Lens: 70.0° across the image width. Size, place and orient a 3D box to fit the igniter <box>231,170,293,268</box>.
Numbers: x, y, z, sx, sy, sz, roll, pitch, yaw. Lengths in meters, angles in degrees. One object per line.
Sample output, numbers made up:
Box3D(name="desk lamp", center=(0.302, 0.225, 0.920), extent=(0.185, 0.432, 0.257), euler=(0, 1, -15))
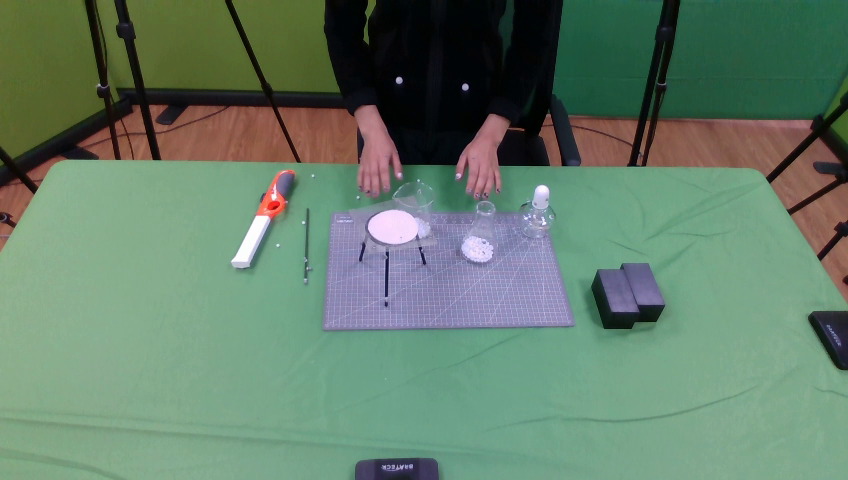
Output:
Box3D(name="igniter", center=(-0.321, -0.051, 1.220), extent=(0.057, 0.025, 0.275), euler=(1, 45, 11))

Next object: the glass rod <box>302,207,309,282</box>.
Box3D(name="glass rod", center=(-0.231, 0.004, 1.187), extent=(0.008, 0.008, 0.198), euler=(-2, 47, -6))

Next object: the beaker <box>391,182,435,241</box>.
Box3D(name="beaker", center=(-0.023, -0.053, 1.192), extent=(0.084, 0.101, 0.073), euler=(-2, 46, -5))

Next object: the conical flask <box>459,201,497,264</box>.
Box3D(name="conical flask", center=(0.109, -0.018, 1.153), extent=(0.075, 0.122, 0.075), euler=(2, 46, -2))

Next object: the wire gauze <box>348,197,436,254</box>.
Box3D(name="wire gauze", center=(-0.056, -0.026, 1.045), extent=(0.125, 0.011, 0.120), euler=(-12, 46, -17))

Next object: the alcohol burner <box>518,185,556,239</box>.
Box3D(name="alcohol burner", center=(0.227, -0.061, 1.209), extent=(0.078, 0.120, 0.077), euler=(1, 44, -1))

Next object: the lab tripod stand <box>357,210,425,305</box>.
Box3D(name="lab tripod stand", center=(-0.060, 0.020, 1.094), extent=(0.148, 0.132, 0.147), euler=(3, 44, -2))

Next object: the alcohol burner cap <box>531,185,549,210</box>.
Box3D(name="alcohol burner cap", center=(0.228, -0.085, 1.183), extent=(0.034, 0.048, 0.033), euler=(-1, 48, 2))
